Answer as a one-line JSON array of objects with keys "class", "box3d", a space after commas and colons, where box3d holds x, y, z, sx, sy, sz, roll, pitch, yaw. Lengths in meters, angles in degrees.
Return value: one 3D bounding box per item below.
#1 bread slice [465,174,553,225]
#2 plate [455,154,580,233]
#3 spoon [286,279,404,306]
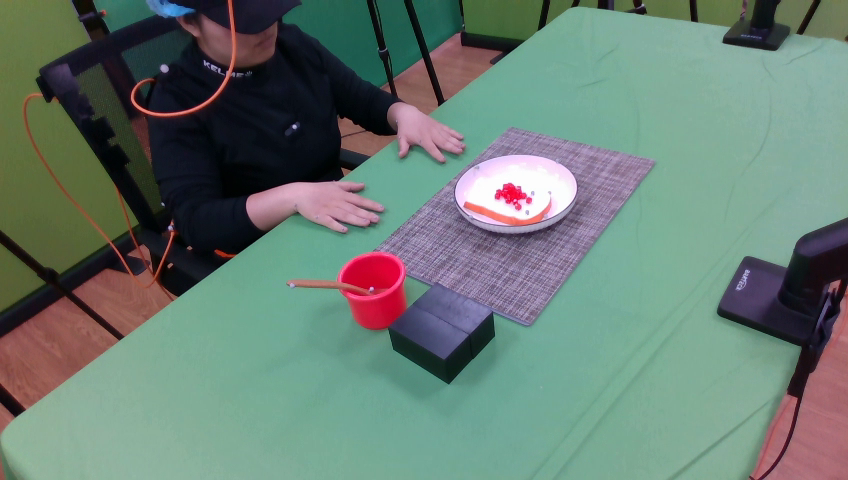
[{"class": "bread slice", "box3d": [0.151, -0.068, 1.022, 0.130, 0.019, 0.105, 23, 50, 33]}, {"class": "plate", "box3d": [0.158, -0.076, 1.028, 0.209, 0.038, 0.208, -5, 40, 5]}, {"class": "spoon", "box3d": [-0.104, 0.068, 0.832, 0.195, 0.021, 0.041, 17, 21, -44]}]
